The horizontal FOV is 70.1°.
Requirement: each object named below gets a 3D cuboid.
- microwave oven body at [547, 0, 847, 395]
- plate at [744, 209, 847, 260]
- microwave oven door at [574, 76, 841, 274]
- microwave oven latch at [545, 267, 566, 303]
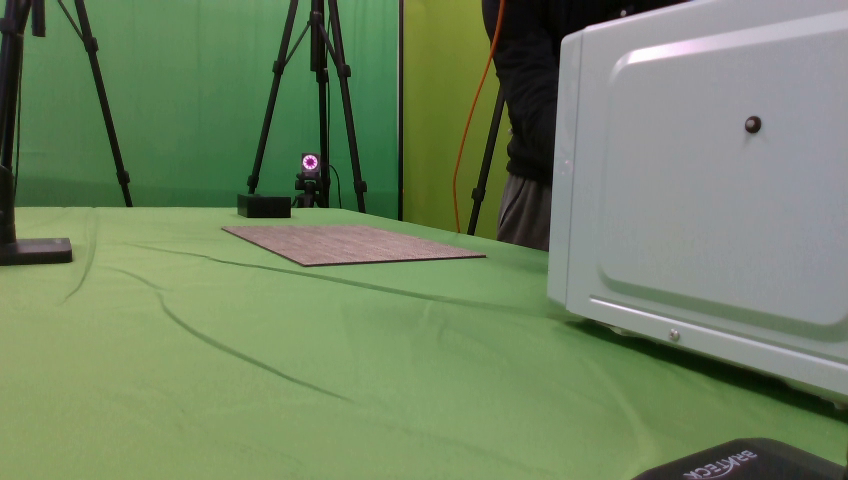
[{"bbox_3d":[0.378,-0.046,0.510,0.444,0.260,0.324,-2,7,-31],"label":"microwave oven body"},{"bbox_3d":[0.410,-0.005,0.558,0.209,0.038,0.209,1,6,0],"label":"plate"},{"bbox_3d":[0.378,-0.095,0.867,0.039,0.243,0.354,-4,9,-41],"label":"microwave oven door"},{"bbox_3d":[0.148,0.039,0.555,0.079,0.029,0.030,-1,7,-28],"label":"microwave oven latch"}]
